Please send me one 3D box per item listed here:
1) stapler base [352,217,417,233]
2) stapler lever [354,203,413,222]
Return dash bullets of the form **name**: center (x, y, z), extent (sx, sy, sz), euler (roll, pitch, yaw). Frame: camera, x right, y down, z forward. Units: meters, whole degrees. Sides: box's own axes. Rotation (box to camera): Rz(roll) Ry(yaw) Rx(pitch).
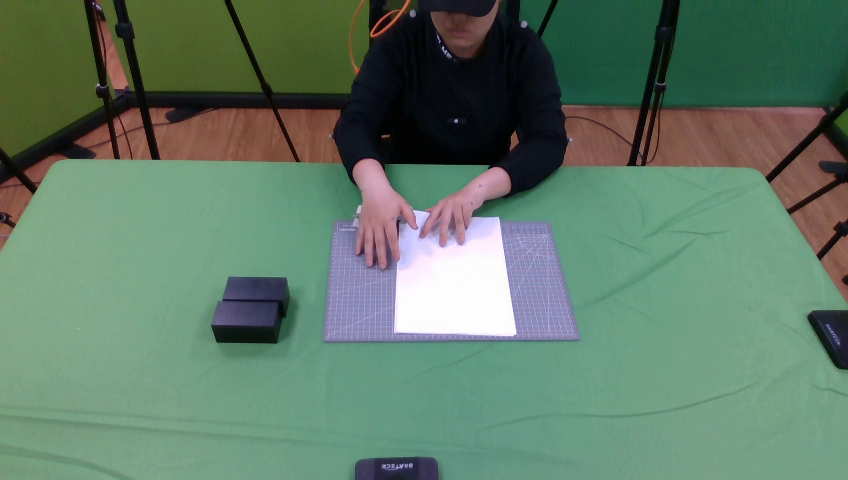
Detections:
- **stapler base**: center (-0.079, -0.041, 1.226), extent (0.130, 0.024, 0.041), euler (6, 43, 3)
- **stapler lever**: center (-0.080, -0.058, 1.208), extent (0.118, 0.040, 0.026), euler (6, 43, 3)
